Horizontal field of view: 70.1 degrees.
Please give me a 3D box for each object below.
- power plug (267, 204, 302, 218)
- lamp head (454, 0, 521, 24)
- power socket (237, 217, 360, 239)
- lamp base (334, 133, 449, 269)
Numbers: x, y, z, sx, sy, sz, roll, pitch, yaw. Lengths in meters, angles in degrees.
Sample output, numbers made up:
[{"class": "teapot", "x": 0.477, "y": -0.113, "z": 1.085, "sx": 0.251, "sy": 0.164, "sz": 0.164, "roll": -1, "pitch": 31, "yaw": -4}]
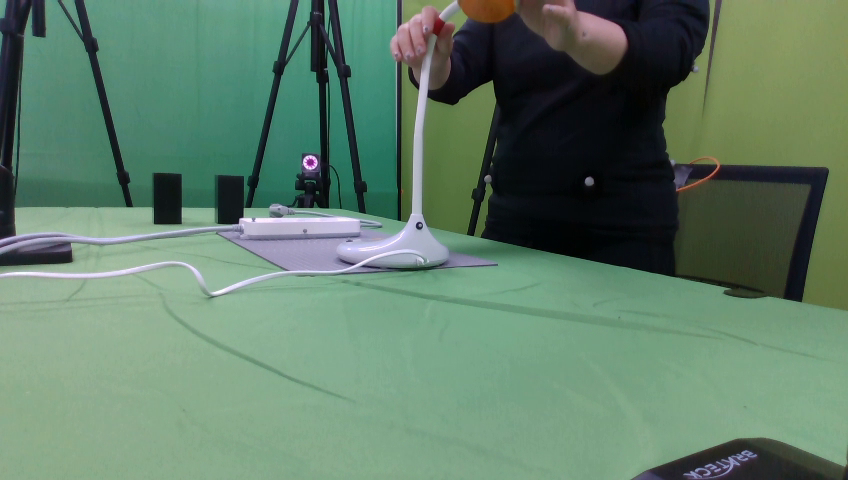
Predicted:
[{"class": "power plug", "x": -0.327, "y": -0.060, "z": 1.404, "sx": 0.073, "sy": 0.035, "sz": 0.052, "roll": 22, "pitch": -14, "yaw": -25}, {"class": "lamp head", "x": 0.074, "y": -0.317, "z": 0.704, "sx": 0.112, "sy": 0.122, "sz": 0.112, "roll": 8, "pitch": -2, "yaw": 1}, {"class": "power socket", "x": -0.221, "y": -0.023, "z": 1.080, "sx": 0.228, "sy": 0.032, "sz": 0.072, "roll": -2, "pitch": 8, "yaw": -32}, {"class": "lamp base", "x": -0.034, "y": -0.057, "z": 0.831, "sx": 0.161, "sy": 0.180, "sz": 0.178, "roll": -3, "pitch": 12, "yaw": -36}]
